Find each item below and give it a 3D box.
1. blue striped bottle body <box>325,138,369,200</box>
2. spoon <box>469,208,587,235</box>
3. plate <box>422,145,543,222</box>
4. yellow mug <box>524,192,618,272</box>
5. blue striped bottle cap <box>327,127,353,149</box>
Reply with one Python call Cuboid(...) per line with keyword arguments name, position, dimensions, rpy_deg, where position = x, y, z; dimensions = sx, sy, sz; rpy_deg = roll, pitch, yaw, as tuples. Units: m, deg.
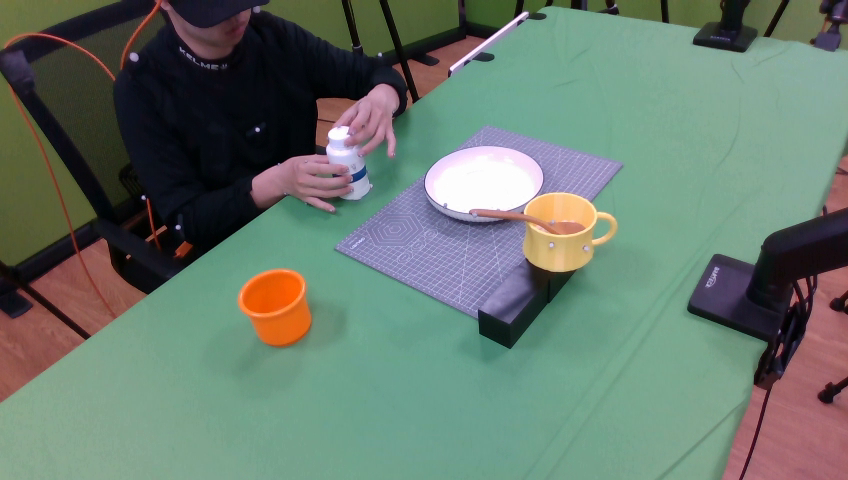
Cuboid(name="blue striped bottle body", position=(-0.138, -0.136, 1.071), dimensions=(0.063, 0.121, 0.063), rpy_deg=(-4, 40, 4))
Cuboid(name="spoon", position=(0.143, -0.026, 0.817), dimensions=(0.195, 0.021, 0.041), rpy_deg=(12, 34, -29))
Cuboid(name="plate", position=(0.101, -0.094, 1.048), dimensions=(0.207, 0.039, 0.206), rpy_deg=(-4, 41, 4))
Cuboid(name="yellow mug", position=(0.206, -0.013, 0.845), dimensions=(0.131, 0.064, 0.099), rpy_deg=(-4, 40, 2))
Cuboid(name="blue striped bottle cap", position=(-0.144, -0.175, 1.036), dimensions=(0.044, 0.021, 0.044), rpy_deg=(-1, 41, 1))
